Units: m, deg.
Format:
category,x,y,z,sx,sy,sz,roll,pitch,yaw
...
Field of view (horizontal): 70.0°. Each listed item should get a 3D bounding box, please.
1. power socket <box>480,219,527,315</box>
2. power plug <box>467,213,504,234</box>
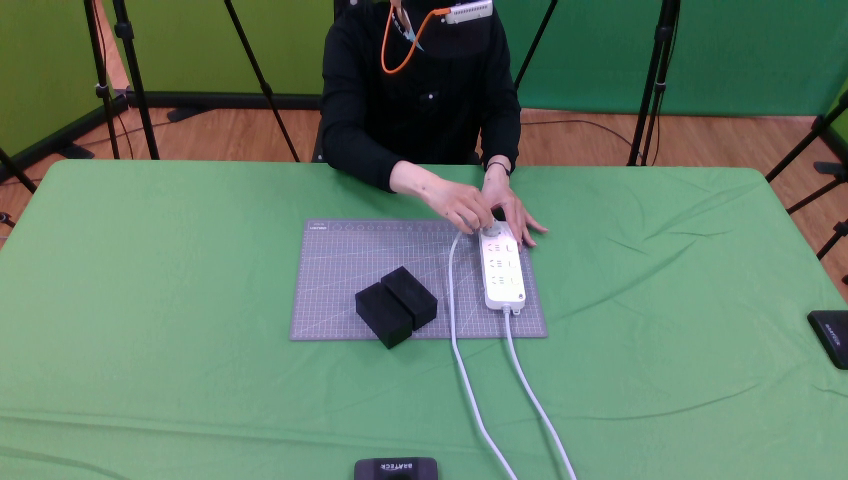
category,x,y,z,sx,sy,sz,roll,pitch,yaw
power socket,0.148,0.042,1.150,0.072,0.033,0.225,1,47,-1
power plug,0.120,-0.031,1.184,0.072,0.053,0.035,11,45,6
